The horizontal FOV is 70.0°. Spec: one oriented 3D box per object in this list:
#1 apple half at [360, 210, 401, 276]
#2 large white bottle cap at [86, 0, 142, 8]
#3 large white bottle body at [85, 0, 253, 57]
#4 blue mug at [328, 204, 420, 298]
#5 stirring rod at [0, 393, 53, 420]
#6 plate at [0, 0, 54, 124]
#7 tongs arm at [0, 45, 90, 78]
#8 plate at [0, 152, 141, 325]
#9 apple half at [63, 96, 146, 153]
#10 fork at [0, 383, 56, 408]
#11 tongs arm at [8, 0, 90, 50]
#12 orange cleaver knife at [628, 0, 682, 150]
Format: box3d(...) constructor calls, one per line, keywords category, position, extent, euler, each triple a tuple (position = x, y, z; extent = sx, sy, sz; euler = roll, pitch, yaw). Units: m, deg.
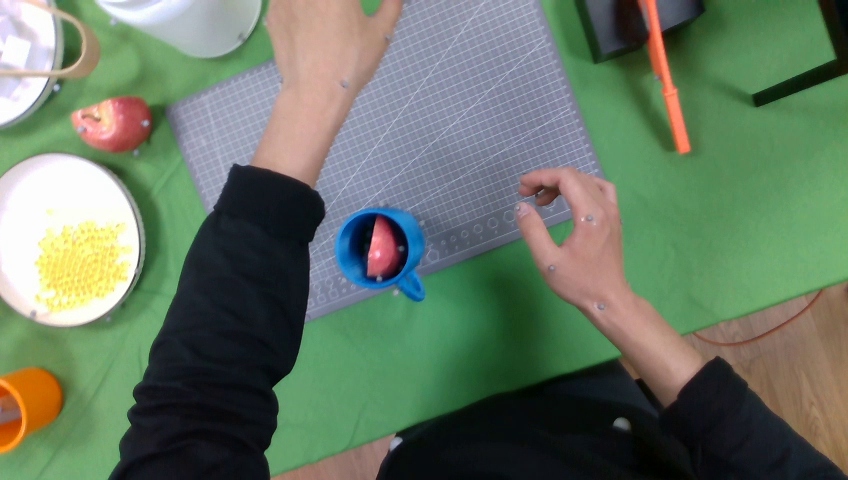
box3d(category="apple half", position=(-0.041, 0.004, 0.656), extent=(0.032, 0.081, 0.081), euler=(10, 96, 12))
box3d(category="large white bottle cap", position=(-0.280, -0.267, 0.537), extent=(0.115, 0.018, 0.115), euler=(0, 95, 6))
box3d(category="large white bottle body", position=(-0.270, -0.273, 0.621), extent=(0.130, 0.184, 0.130), euler=(0, 94, 6))
box3d(category="blue mug", position=(-0.042, 0.015, 0.663), extent=(0.082, 0.106, 0.116), euler=(-37, 91, 7))
box3d(category="stirring rod", position=(-0.535, 0.217, 0.708), extent=(0.177, 0.006, 0.014), euler=(-16, 81, -34))
box3d(category="plate", position=(-0.535, -0.237, 0.722), extent=(0.207, 0.039, 0.208), euler=(0, 95, 5))
box3d(category="tongs arm", position=(-0.570, -0.213, 0.695), extent=(0.384, 0.026, 0.051), euler=(7, 92, 7))
box3d(category="plate", position=(-0.439, -0.002, 0.734), extent=(0.209, 0.038, 0.209), euler=(0, 95, 5))
box3d(category="apple half", position=(-0.361, -0.128, 0.698), extent=(0.081, 0.074, 0.053), euler=(-18, 96, 3))
box3d(category="fork", position=(-0.551, 0.201, 0.706), extent=(0.208, 0.018, 0.028), euler=(-7, 94, -37))
box3d(category="tongs arm", position=(-0.553, -0.295, 0.688), extent=(0.387, 0.028, 0.028), euler=(21, 90, 5))
box3d(category="orange cleaver knife", position=(0.236, -0.195, 0.633), extent=(0.012, 0.076, 0.213), euler=(-20, 119, 15))
